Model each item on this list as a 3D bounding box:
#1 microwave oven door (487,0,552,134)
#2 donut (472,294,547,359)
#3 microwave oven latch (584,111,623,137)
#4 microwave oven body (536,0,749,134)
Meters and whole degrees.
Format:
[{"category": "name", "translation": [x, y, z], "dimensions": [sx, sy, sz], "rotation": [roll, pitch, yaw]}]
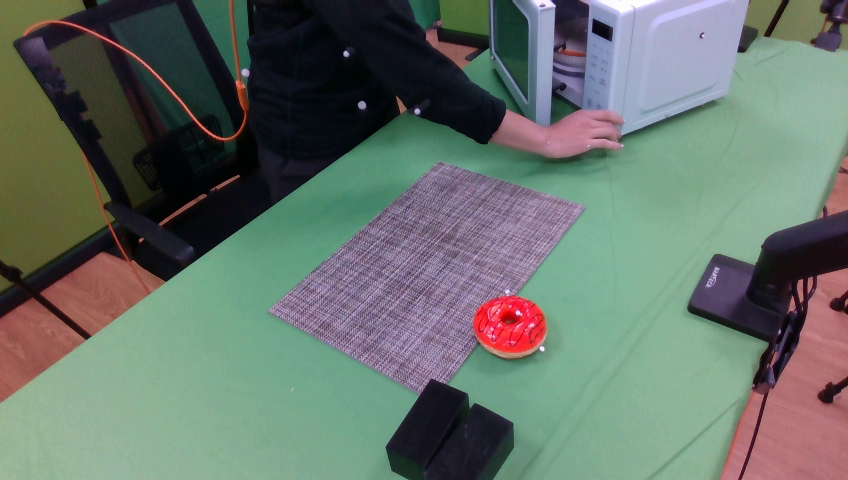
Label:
[{"category": "microwave oven door", "translation": [0.188, -0.407, 1.223], "dimensions": [0.039, 0.245, 0.353], "rotation": [-11, 41, -4]}, {"category": "donut", "translation": [0.114, 0.114, 0.803], "dimensions": [0.099, 0.048, 0.098], "rotation": [0, 40, 1]}, {"category": "microwave oven latch", "translation": [0.337, -0.222, 1.142], "dimensions": [0.030, 0.029, 0.078], "rotation": [-21, 42, -14]}, {"category": "microwave oven body", "translation": [0.382, -0.444, 1.246], "dimensions": [0.327, 0.261, 0.437], "rotation": [-22, 42, -16]}]
